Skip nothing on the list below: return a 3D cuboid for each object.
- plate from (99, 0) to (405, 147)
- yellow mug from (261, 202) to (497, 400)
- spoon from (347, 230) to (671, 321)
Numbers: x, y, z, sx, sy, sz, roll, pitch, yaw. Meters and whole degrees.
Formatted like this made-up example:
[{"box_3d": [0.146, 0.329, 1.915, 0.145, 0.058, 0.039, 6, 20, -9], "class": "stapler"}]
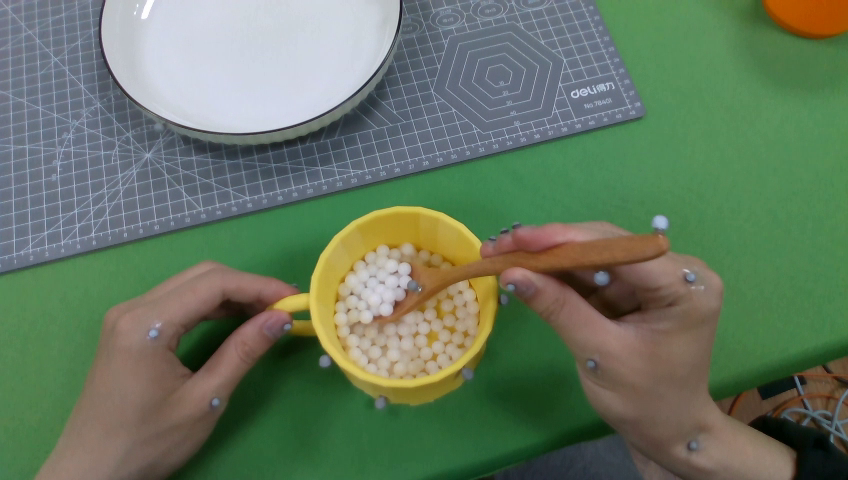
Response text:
[{"box_3d": [-0.116, -0.153, 0.430, 0.208, 0.039, 0.206, 0, 68, 0], "class": "plate"}, {"box_3d": [-0.026, 0.038, 0.343, 0.131, 0.064, 0.099, -6, 68, -1], "class": "yellow mug"}, {"box_3d": [0.026, 0.016, 0.300, 0.022, 0.193, 0.041, 36, 58, -31], "class": "spoon"}]
